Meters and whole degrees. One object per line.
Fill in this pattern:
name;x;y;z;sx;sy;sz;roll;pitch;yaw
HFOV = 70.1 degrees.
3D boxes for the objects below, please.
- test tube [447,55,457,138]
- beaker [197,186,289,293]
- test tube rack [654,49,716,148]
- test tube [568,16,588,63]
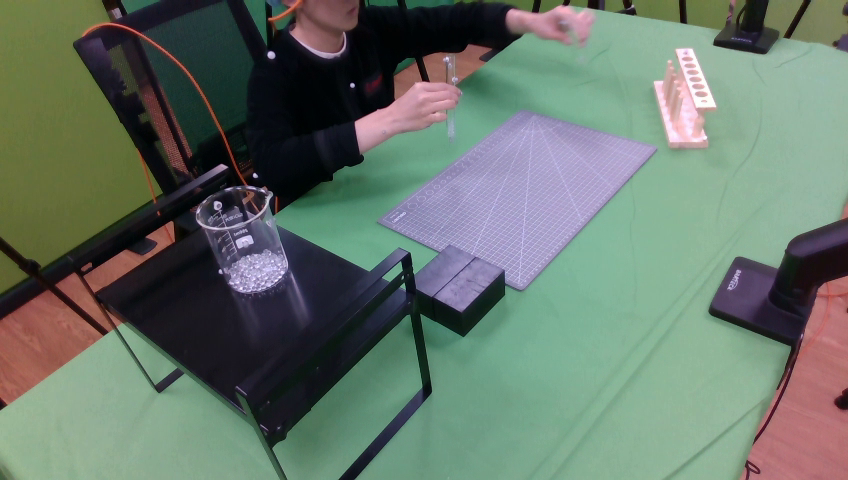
test tube;0.049;-0.245;1.046;0.017;0.151;0.017;-2;36;2
beaker;-0.192;0.001;0.666;0.084;0.101;0.073;-32;47;-27
test tube rack;0.502;-0.281;1.176;0.066;0.085;0.241;1;41;11
test tube;0.292;-0.375;1.138;0.017;0.151;0.017;-6;75;22
